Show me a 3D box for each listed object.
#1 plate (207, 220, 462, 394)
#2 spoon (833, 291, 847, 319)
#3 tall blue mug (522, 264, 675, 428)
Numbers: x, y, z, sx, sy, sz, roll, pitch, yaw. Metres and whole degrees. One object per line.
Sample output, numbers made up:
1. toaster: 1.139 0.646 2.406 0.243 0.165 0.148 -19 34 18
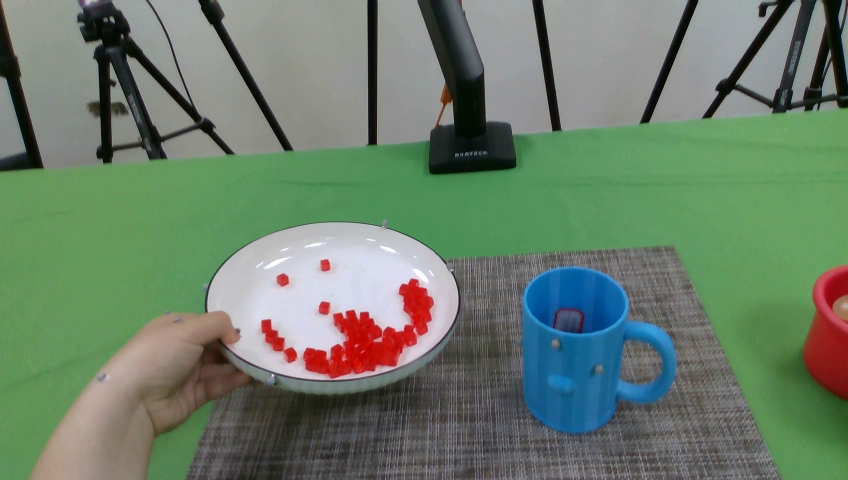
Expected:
1. plate: -0.072 0.054 0.513 0.208 0.039 0.205 4 34 -2
2. spoon: 0.370 0.036 0.405 0.041 0.193 0.021 -37 91 -20
3. tall blue mug: 0.132 0.083 0.478 0.107 0.109 0.077 -8 36 0
